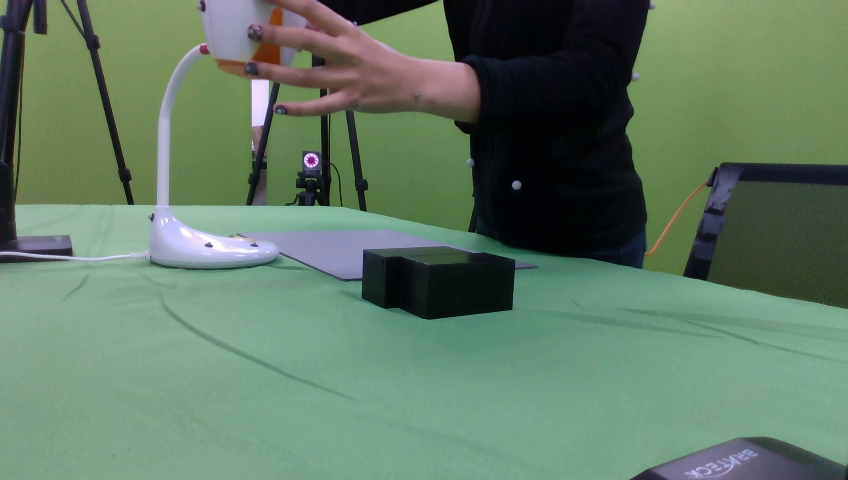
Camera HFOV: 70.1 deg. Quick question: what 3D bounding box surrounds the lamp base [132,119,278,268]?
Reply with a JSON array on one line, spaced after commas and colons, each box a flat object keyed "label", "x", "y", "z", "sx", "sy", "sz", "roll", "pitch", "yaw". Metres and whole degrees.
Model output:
[{"label": "lamp base", "x": -0.279, "y": -0.061, "z": 0.770, "sx": 0.160, "sy": 0.180, "sz": 0.180, "roll": 9, "pitch": 13, "yaw": 44}]

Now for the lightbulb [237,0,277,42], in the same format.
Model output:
[{"label": "lightbulb", "x": -0.155, "y": -0.240, "z": 0.569, "sx": 0.059, "sy": 0.107, "sz": 0.059, "roll": 10, "pitch": -1, "yaw": 1}]

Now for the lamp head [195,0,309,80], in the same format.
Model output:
[{"label": "lamp head", "x": -0.166, "y": -0.215, "z": 0.572, "sx": 0.112, "sy": 0.123, "sz": 0.112, "roll": 9, "pitch": 8, "yaw": -1}]
